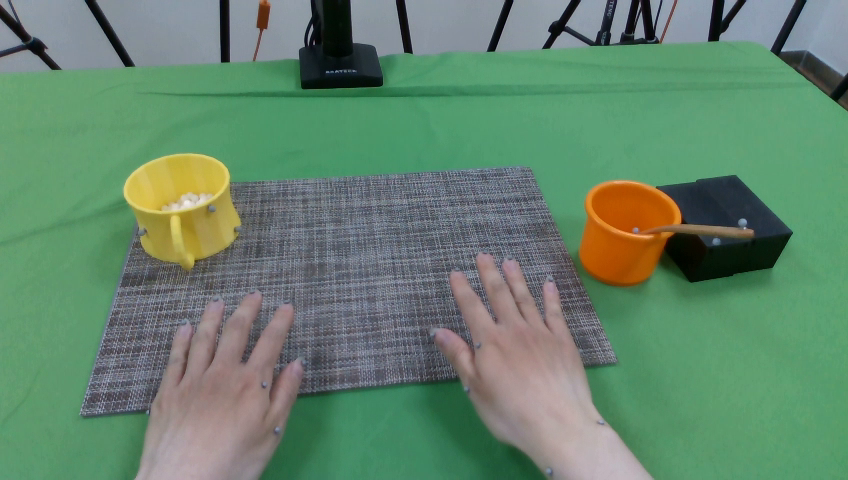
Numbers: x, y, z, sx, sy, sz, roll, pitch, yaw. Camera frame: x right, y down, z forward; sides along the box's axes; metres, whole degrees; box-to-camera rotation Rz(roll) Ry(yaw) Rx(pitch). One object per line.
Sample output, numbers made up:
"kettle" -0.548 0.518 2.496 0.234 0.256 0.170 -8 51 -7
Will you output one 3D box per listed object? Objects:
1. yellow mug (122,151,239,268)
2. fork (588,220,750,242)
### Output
"yellow mug" -0.243 -0.027 0.610 0.100 0.064 0.129 -9 45 -13
"fork" 0.217 -0.008 0.560 0.028 0.018 0.206 -4 -1 -17
